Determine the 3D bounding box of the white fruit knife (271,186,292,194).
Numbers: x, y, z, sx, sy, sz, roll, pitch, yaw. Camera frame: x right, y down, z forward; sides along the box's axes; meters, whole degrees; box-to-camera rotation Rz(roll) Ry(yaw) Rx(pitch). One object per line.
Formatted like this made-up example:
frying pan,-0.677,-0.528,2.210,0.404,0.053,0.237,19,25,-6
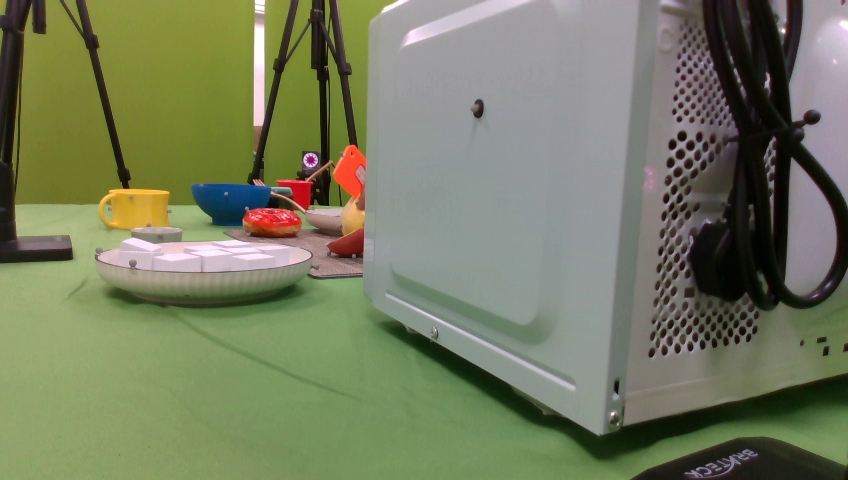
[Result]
white fruit knife,-0.399,-0.111,1.368,0.208,0.016,0.027,-4,-20,-29

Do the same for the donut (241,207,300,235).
donut,-0.263,-0.031,1.039,0.099,0.048,0.099,4,10,0

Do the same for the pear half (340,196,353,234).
pear half,-0.109,-0.035,0.951,0.031,0.088,0.071,0,10,40

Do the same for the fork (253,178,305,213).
fork,-0.294,-0.084,1.293,0.206,0.018,0.028,29,12,26

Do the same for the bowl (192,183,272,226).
bowl,-0.381,-0.071,1.202,0.151,0.077,0.151,3,7,0

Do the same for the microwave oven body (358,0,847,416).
microwave oven body,0.211,-0.047,0.474,0.444,0.260,0.324,-1,7,-28

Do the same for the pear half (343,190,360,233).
pear half,-0.081,-0.042,0.924,0.055,0.110,0.077,8,14,38

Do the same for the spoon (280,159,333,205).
spoon,-0.316,-0.159,1.639,0.194,0.022,0.041,-49,33,-20

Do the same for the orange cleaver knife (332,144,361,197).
orange cleaver knife,-0.070,-0.081,0.972,0.012,0.077,0.212,3,-18,38

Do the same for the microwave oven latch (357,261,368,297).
microwave oven latch,-0.019,0.033,0.531,0.079,0.029,0.030,-1,7,-27

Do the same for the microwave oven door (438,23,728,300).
microwave oven door,0.181,-0.072,0.621,0.358,0.243,0.039,-2,8,-29

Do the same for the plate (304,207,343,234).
plate,-0.123,-0.037,1.149,0.209,0.038,0.209,2,7,0

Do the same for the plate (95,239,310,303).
plate,-0.224,0.031,0.629,0.208,0.039,0.207,2,7,0

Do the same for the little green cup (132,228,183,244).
little green cup,-0.342,0.006,0.779,0.061,0.038,0.061,2,8,0

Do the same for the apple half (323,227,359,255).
apple half,-0.096,0.002,0.848,0.081,0.033,0.081,-22,1,1

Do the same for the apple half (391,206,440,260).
apple half,-0.006,-0.009,0.837,0.053,0.074,0.081,10,6,23

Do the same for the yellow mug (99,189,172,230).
yellow mug,-0.519,-0.055,1.080,0.099,0.064,0.131,7,10,26
